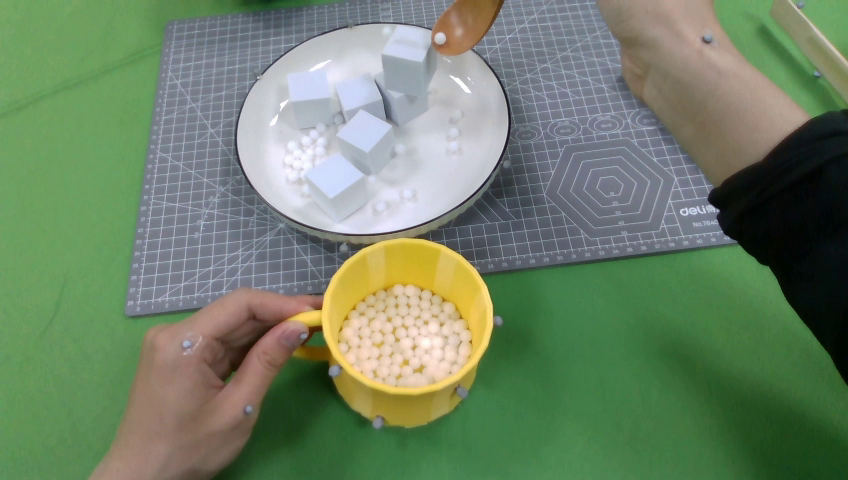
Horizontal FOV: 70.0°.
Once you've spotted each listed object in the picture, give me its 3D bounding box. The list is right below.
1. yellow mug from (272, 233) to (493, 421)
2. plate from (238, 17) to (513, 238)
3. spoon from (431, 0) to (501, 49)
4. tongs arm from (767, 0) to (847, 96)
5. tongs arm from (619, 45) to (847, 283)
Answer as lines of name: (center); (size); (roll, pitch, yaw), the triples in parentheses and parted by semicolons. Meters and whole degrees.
yellow mug: (-0.027, 0.055, 0.372); (0.131, 0.064, 0.099); (-3, 59, -7)
plate: (-0.036, -0.088, 0.472); (0.207, 0.039, 0.206); (-1, 62, 2)
spoon: (0.069, -0.184, 0.366); (0.022, 0.194, 0.041); (2, 65, -38)
tongs arm: (0.346, -0.048, 0.433); (0.051, 0.027, 0.381); (-19, 64, -8)
tongs arm: (0.273, -0.015, 0.422); (0.028, 0.028, 0.384); (-30, 65, -17)
